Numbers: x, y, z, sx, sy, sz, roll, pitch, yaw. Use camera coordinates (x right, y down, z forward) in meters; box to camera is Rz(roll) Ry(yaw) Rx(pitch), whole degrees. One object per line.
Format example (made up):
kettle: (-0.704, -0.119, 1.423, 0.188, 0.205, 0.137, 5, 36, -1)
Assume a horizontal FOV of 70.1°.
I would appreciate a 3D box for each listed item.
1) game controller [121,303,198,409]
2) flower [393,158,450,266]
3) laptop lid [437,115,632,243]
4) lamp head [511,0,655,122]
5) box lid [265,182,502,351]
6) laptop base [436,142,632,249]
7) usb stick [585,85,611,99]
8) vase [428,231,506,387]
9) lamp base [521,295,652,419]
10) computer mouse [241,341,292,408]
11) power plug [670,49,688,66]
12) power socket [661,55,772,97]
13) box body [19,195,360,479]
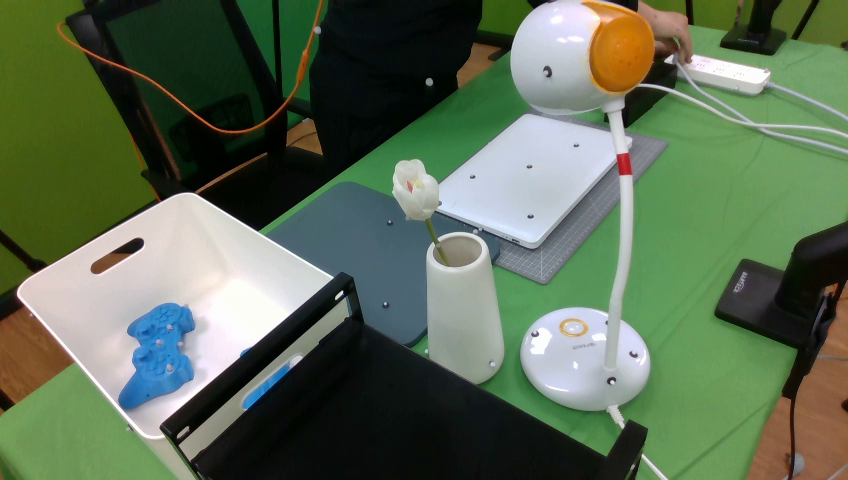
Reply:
game controller: (-0.364, 0.149, 0.828, 0.097, 0.052, 0.154, -13, 41, -9)
flower: (0.028, 0.035, 0.664, 0.043, 0.364, 0.038, 36, 73, 30)
laptop lid: (0.189, -0.126, 1.082, 0.239, 0.013, 0.358, 23, 49, 34)
lamp head: (0.155, -0.168, 0.563, 0.113, 0.113, 0.122, -18, 23, -12)
box lid: (-0.087, 0.023, 0.971, 0.368, 0.015, 0.264, 23, 49, 31)
laptop base: (0.193, -0.116, 1.087, 0.233, 0.023, 0.355, 21, 48, 34)
usb stick: (0.355, -0.306, 1.254, 0.027, 0.021, 0.058, -8, 6, -36)
vase: (0.050, 0.087, 0.728, 0.098, 0.201, 0.097, -3, 40, 3)
lamp base: (0.201, 0.095, 0.710, 0.161, 0.181, 0.178, -16, 43, -10)
computer mouse: (-0.201, 0.177, 0.776, 0.063, 0.041, 0.116, -11, 44, -8)
power plug: (0.539, -0.383, 1.303, 0.073, 0.053, 0.035, -25, 42, -24)
power socket: (0.618, -0.353, 1.290, 0.225, 0.033, 0.072, 27, 52, 34)
box body: (-0.288, 0.118, 0.772, 0.361, 0.161, 0.255, 26, 50, 33)
